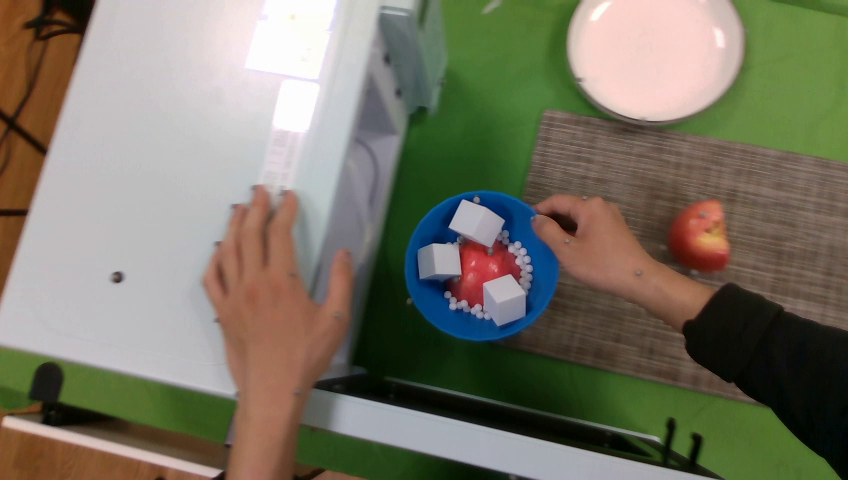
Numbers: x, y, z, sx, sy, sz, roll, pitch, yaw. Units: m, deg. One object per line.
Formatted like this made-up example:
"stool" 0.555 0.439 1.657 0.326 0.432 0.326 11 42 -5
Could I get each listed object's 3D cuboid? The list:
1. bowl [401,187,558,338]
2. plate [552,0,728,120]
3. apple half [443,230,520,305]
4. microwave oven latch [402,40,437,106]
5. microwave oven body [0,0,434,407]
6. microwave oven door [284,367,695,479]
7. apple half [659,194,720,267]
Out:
"bowl" 0.057 0.030 0.612 0.151 0.077 0.150 -3 72 8
"plate" 0.263 -0.245 0.752 0.207 0.039 0.207 -1 81 5
"apple half" 0.059 0.027 0.611 0.081 0.033 0.081 -1 79 7
"microwave oven latch" -0.007 -0.210 0.754 0.030 0.029 0.079 18 84 8
"microwave oven body" -0.193 -0.078 0.654 0.325 0.261 0.440 10 83 7
"microwave oven door" 0.073 0.180 0.580 0.355 0.245 0.039 10 81 8
"apple half" 0.296 -0.008 0.688 0.053 0.075 0.080 -8 83 9
